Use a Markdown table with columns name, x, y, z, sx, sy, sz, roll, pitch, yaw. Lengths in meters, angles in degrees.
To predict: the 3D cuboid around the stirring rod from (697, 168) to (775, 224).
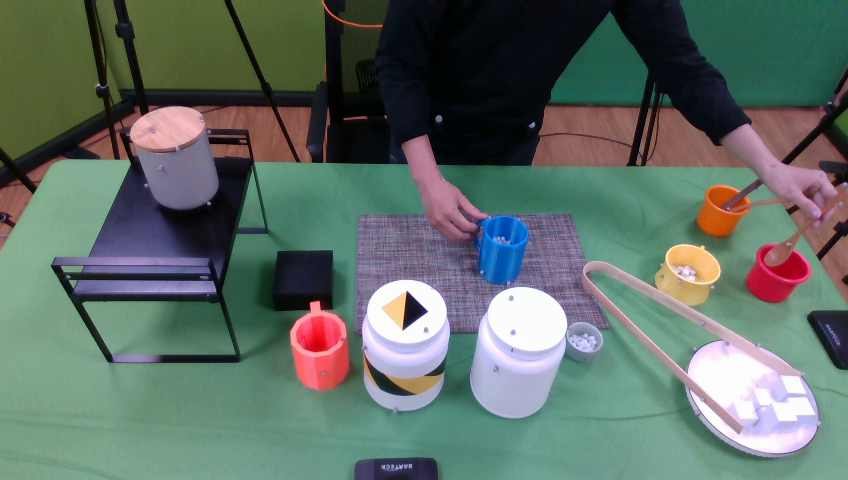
| name | x | y | z | sx | sy | sz | roll | pitch | yaw |
| --- | --- | --- | --- | --- | --- | --- | --- | --- | --- |
| stirring rod | 0.644 | -0.090 | 1.252 | 0.176 | 0.006 | 0.014 | -39 | 54 | 17 |

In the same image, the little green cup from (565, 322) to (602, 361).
| name | x | y | z | sx | sy | sz | roll | pitch | yaw |
| --- | --- | --- | --- | --- | --- | --- | --- | --- | --- |
| little green cup | 0.270 | 0.176 | 1.039 | 0.061 | 0.039 | 0.061 | 2 | 46 | -2 |

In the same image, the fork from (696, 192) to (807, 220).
| name | x | y | z | sx | sy | sz | roll | pitch | yaw |
| --- | --- | --- | --- | --- | --- | --- | --- | --- | --- |
| fork | 0.655 | -0.069 | 1.224 | 0.207 | 0.019 | 0.028 | -17 | 33 | 45 |

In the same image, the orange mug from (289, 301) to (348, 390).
| name | x | y | z | sx | sy | sz | roll | pitch | yaw |
| --- | --- | --- | --- | --- | --- | --- | --- | --- | --- |
| orange mug | -0.170 | 0.162 | 0.976 | 0.083 | 0.101 | 0.125 | -7 | 52 | -11 |

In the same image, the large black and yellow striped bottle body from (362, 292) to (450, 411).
| name | x | y | z | sx | sy | sz | roll | pitch | yaw |
| --- | --- | --- | --- | --- | --- | --- | --- | --- | --- |
| large black and yellow striped bottle body | -0.030 | 0.163 | 0.928 | 0.131 | 0.185 | 0.130 | 2 | 47 | -2 |

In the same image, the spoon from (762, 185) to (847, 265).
| name | x | y | z | sx | sy | sz | roll | pitch | yaw |
| --- | --- | --- | --- | --- | --- | --- | --- | --- | --- |
| spoon | 0.669 | -0.024 | 1.064 | 0.022 | 0.194 | 0.041 | 16 | 43 | -8 |

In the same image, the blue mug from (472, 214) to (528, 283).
| name | x | y | z | sx | sy | sz | roll | pitch | yaw |
| --- | --- | --- | --- | --- | --- | --- | --- | --- | --- |
| blue mug | 0.133 | 0.008 | 1.136 | 0.082 | 0.106 | 0.116 | -34 | 57 | -30 |

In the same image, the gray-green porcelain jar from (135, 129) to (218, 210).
| name | x | y | z | sx | sy | sz | roll | pitch | yaw |
| --- | --- | --- | --- | --- | --- | --- | --- | --- | --- |
| gray-green porcelain jar | -0.388 | -0.120 | 0.960 | 0.106 | 0.127 | 0.105 | 2 | 46 | -2 |

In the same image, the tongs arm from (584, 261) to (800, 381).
| name | x | y | z | sx | sy | sz | roll | pitch | yaw |
| --- | --- | --- | --- | --- | --- | --- | --- | --- | --- |
| tongs arm | 0.452 | 0.137 | 1.064 | 0.051 | 0.027 | 0.382 | -34 | 50 | -27 |

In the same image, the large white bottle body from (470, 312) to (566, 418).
| name | x | y | z | sx | sy | sz | roll | pitch | yaw |
| --- | --- | --- | --- | --- | --- | --- | --- | --- | --- |
| large white bottle body | 0.143 | 0.173 | 0.930 | 0.131 | 0.185 | 0.130 | 2 | 46 | -2 |

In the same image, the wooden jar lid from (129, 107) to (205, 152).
| name | x | y | z | sx | sy | sz | roll | pitch | yaw |
| --- | --- | --- | --- | --- | --- | --- | --- | --- | --- |
| wooden jar lid | -0.385 | -0.163 | 0.915 | 0.108 | 0.021 | 0.107 | 2 | 47 | -2 |

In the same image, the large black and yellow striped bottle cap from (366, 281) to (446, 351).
| name | x | y | z | sx | sy | sz | roll | pitch | yaw |
| --- | --- | --- | --- | --- | --- | --- | --- | --- | --- |
| large black and yellow striped bottle cap | -0.025 | 0.106 | 0.865 | 0.115 | 0.019 | 0.114 | 2 | 46 | -1 |

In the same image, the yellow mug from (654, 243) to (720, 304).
| name | x | y | z | sx | sy | sz | roll | pitch | yaw |
| --- | --- | --- | --- | --- | --- | --- | --- | --- | --- |
| yellow mug | 0.504 | 0.054 | 1.154 | 0.099 | 0.064 | 0.130 | 28 | 50 | 22 |

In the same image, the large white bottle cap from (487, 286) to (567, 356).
| name | x | y | z | sx | sy | sz | roll | pitch | yaw |
| --- | --- | --- | --- | --- | --- | --- | --- | --- | --- |
| large white bottle cap | 0.147 | 0.114 | 0.869 | 0.115 | 0.018 | 0.114 | 3 | 46 | -3 |

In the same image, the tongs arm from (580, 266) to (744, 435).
| name | x | y | z | sx | sy | sz | roll | pitch | yaw |
| --- | --- | --- | --- | --- | --- | --- | --- | --- | --- |
| tongs arm | 0.384 | 0.173 | 1.028 | 0.028 | 0.028 | 0.385 | -25 | 46 | -15 |

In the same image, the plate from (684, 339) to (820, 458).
| name | x | y | z | sx | sy | sz | roll | pitch | yaw |
| --- | --- | --- | --- | --- | --- | --- | --- | --- | --- |
| plate | 0.523 | 0.256 | 0.982 | 0.208 | 0.039 | 0.206 | 2 | 46 | -2 |
